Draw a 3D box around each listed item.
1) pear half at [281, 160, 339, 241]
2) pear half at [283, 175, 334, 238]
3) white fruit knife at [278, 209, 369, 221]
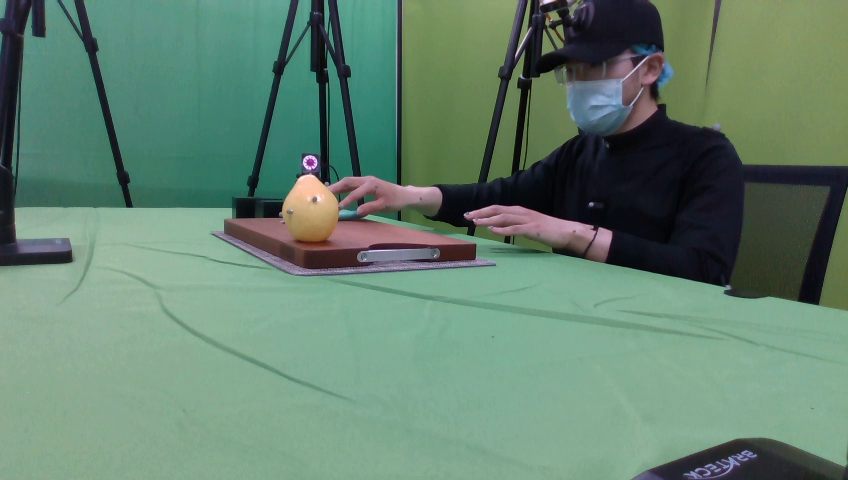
[{"bbox_3d":[-0.152,-0.052,0.812,0.077,0.110,0.055,-5,10,-22],"label":"pear half"},{"bbox_3d":[-0.164,-0.047,0.847,0.071,0.088,0.031,-9,12,-22],"label":"pear half"},{"bbox_3d":[-0.182,-0.044,1.104,0.027,0.016,0.208,-11,-2,39],"label":"white fruit knife"}]
